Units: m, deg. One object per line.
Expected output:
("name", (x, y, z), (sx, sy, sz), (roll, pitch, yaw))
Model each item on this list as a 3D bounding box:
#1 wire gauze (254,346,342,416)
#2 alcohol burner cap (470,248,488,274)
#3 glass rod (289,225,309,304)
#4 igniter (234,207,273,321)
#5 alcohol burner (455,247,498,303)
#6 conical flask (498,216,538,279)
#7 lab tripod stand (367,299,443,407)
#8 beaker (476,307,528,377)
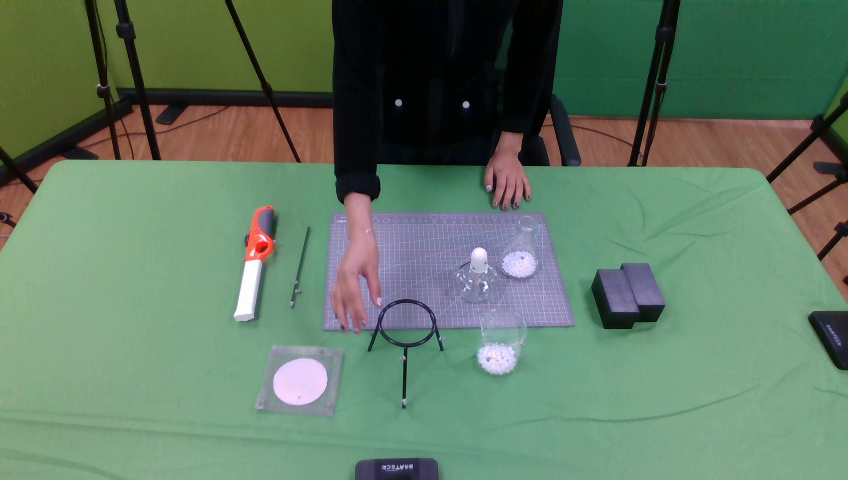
("wire gauze", (-0.201, 0.223, 0.978), (0.125, 0.011, 0.121), (4, 45, 1))
("alcohol burner cap", (0.095, 0.034, 1.057), (0.034, 0.048, 0.033), (-3, 52, 4))
("glass rod", (-0.235, 0.042, 1.149), (0.008, 0.008, 0.198), (3, 46, -1))
("igniter", (-0.318, 0.035, 1.138), (0.057, 0.025, 0.274), (-8, 46, 3))
("alcohol burner", (0.095, 0.057, 1.085), (0.078, 0.120, 0.077), (1, 47, -1))
("conical flask", (0.183, 0.010, 1.132), (0.075, 0.122, 0.075), (2, 46, -2))
("lab tripod stand", (-0.028, 0.165, 0.960), (0.148, 0.132, 0.147), (2, 44, -2))
("beaker", (0.122, 0.171, 0.991), (0.084, 0.101, 0.073), (-34, 56, -30))
